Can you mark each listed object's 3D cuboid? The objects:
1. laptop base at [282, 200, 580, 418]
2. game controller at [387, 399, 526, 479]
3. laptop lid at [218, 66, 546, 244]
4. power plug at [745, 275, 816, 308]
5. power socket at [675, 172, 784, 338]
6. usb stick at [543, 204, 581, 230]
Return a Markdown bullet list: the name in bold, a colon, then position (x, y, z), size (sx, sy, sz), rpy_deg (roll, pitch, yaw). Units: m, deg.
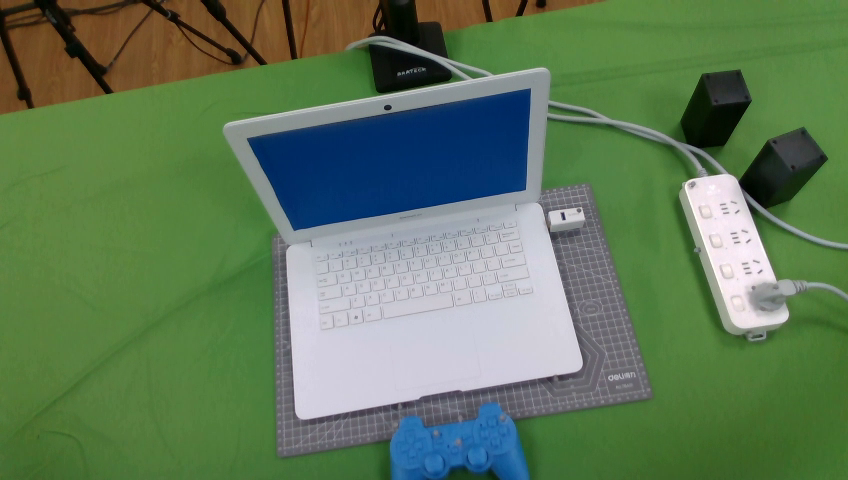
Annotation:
- **laptop base**: position (-0.002, 0.081, 0.778), size (0.354, 0.023, 0.233), rpy_deg (-10, 68, 0)
- **game controller**: position (0.033, 0.237, 0.686), size (0.155, 0.052, 0.096), rpy_deg (-9, 63, 0)
- **laptop lid**: position (-0.034, -0.089, 0.728), size (0.357, 0.244, 0.013), rpy_deg (-11, 56, 1)
- **power plug**: position (0.420, 0.064, 0.719), size (0.072, 0.053, 0.035), rpy_deg (3, 65, 2)
- **power socket**: position (0.383, 0.010, 0.768), size (0.072, 0.033, 0.224), rpy_deg (-8, 65, 2)
- **usb stick**: position (0.175, -0.029, 0.799), size (0.059, 0.027, 0.021), rpy_deg (-11, 65, 5)
